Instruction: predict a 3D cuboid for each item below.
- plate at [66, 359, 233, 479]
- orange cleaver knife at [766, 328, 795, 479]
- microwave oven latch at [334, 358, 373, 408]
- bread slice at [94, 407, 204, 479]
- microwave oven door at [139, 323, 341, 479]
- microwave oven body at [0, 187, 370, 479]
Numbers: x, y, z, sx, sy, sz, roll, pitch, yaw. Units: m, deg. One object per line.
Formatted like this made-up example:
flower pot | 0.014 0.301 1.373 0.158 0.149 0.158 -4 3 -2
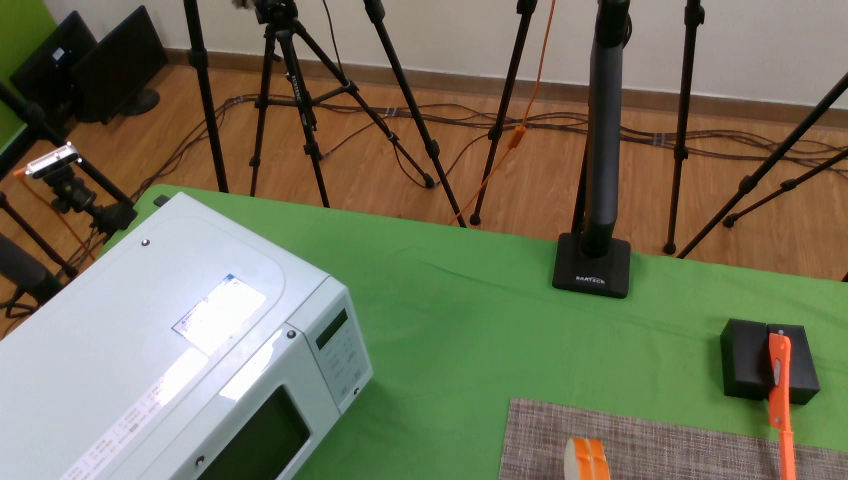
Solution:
plate | -0.357 0.259 0.804 0.208 0.039 0.205 0 50 0
orange cleaver knife | 0.474 0.218 0.810 0.012 0.078 0.210 4 73 11
microwave oven latch | -0.106 0.203 0.879 0.030 0.030 0.079 28 60 23
bread slice | -0.357 0.283 0.793 0.134 0.018 0.106 -9 50 -15
microwave oven door | -0.241 0.286 0.696 0.039 0.246 0.355 26 59 24
microwave oven body | -0.336 0.202 0.777 0.324 0.262 0.440 27 60 23
